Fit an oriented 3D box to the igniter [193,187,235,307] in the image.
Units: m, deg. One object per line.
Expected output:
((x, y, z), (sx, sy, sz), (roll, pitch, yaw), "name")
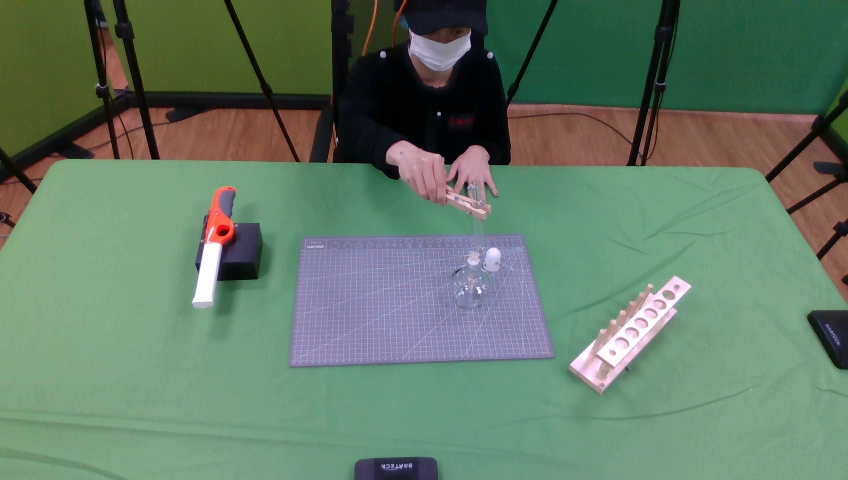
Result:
((-0.379, 0.003, 1.096), (0.057, 0.025, 0.274), (-1, 49, -6), "igniter")

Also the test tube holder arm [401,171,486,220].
((0.029, -0.075, 0.990), (0.177, 0.015, 0.013), (28, 55, 31), "test tube holder arm")

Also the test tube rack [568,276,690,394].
((0.354, 0.149, 1.039), (0.242, 0.085, 0.066), (-34, 56, -31), "test tube rack")

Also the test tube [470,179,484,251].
((0.086, -0.037, 0.971), (0.017, 0.151, 0.017), (-5, 45, 5), "test tube")

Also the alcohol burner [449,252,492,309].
((0.084, 0.066, 1.074), (0.078, 0.120, 0.077), (1, 44, -1), "alcohol burner")

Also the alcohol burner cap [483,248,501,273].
((0.130, 0.037, 1.156), (0.034, 0.048, 0.033), (1, 46, -1), "alcohol burner cap")

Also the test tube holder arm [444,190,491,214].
((0.067, -0.062, 0.971), (0.087, 0.015, 0.010), (21, 52, 26), "test tube holder arm")
